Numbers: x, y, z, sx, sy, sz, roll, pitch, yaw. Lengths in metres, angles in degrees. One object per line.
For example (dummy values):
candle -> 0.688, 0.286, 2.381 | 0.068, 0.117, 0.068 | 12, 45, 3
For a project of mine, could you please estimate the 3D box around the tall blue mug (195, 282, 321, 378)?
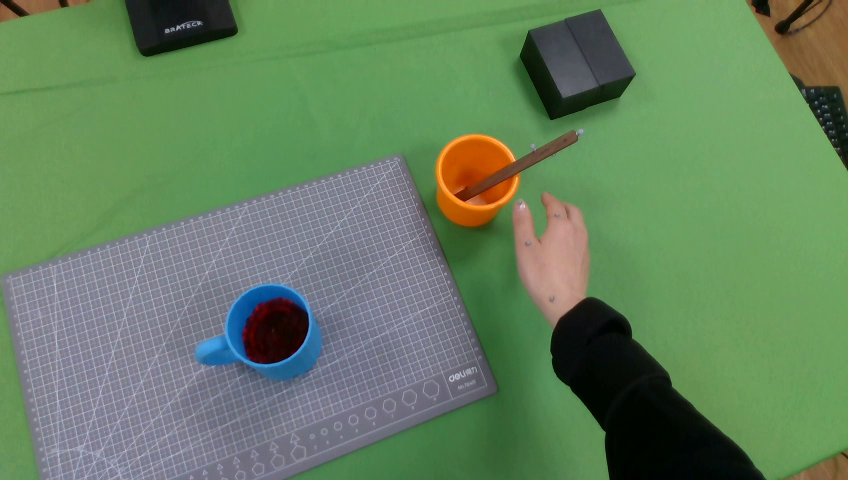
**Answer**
tall blue mug -> -0.155, 0.100, 0.587 | 0.077, 0.108, 0.107 | 44, 73, 9

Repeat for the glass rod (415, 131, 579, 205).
glass rod -> 0.073, -0.075, 0.656 | 0.199, 0.008, 0.008 | -22, 70, 28
